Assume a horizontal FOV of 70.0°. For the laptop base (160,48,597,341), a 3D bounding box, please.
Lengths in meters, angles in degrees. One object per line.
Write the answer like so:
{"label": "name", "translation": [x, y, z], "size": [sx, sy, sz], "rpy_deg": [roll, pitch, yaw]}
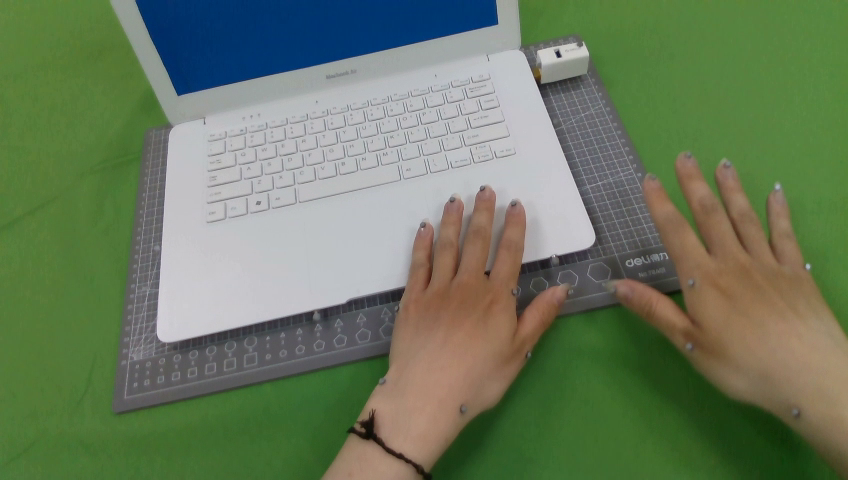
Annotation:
{"label": "laptop base", "translation": [-0.054, -0.051, 0.535], "size": [0.354, 0.023, 0.233], "rpy_deg": [-13, 60, 1]}

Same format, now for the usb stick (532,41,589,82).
{"label": "usb stick", "translation": [0.122, -0.165, 0.566], "size": [0.059, 0.027, 0.021], "rpy_deg": [-12, 58, 3]}

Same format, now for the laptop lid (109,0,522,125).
{"label": "laptop lid", "translation": [-0.096, -0.236, 0.523], "size": [0.357, 0.244, 0.013], "rpy_deg": [-14, 39, 1]}
